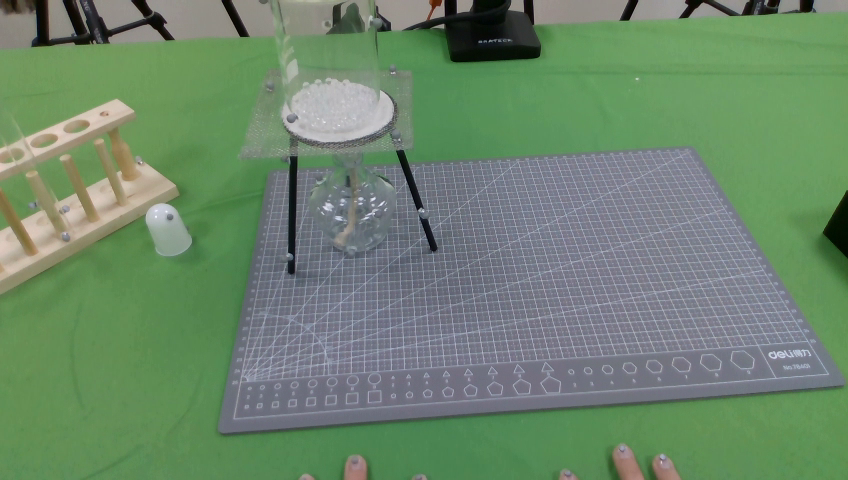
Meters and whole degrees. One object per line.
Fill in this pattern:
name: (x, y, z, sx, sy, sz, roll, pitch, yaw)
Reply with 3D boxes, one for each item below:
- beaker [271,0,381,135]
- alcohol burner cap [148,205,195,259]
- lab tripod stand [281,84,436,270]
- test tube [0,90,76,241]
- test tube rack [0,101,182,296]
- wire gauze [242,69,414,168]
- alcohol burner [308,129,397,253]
beaker: (-0.067, -0.135, 0.433, 0.074, 0.101, 0.083, 4, 44, 3)
alcohol burner cap: (-0.228, -0.011, 0.543, 0.034, 0.048, 0.033, 0, 44, 0)
lab tripod stand: (-0.060, -0.052, 0.512, 0.148, 0.132, 0.147, 1, 43, 0)
test tube: (-0.324, -0.058, 0.498, 0.017, 0.151, 0.017, 0, 42, 0)
test tube rack: (-0.348, -0.026, 0.528, 0.066, 0.086, 0.242, 31, 52, 30)
wire gauze: (-0.069, -0.098, 0.465, 0.121, 0.011, 0.124, -1, 46, -1)
alcohol burner: (-0.062, -0.046, 0.520, 0.078, 0.120, 0.077, 1, 45, 0)
